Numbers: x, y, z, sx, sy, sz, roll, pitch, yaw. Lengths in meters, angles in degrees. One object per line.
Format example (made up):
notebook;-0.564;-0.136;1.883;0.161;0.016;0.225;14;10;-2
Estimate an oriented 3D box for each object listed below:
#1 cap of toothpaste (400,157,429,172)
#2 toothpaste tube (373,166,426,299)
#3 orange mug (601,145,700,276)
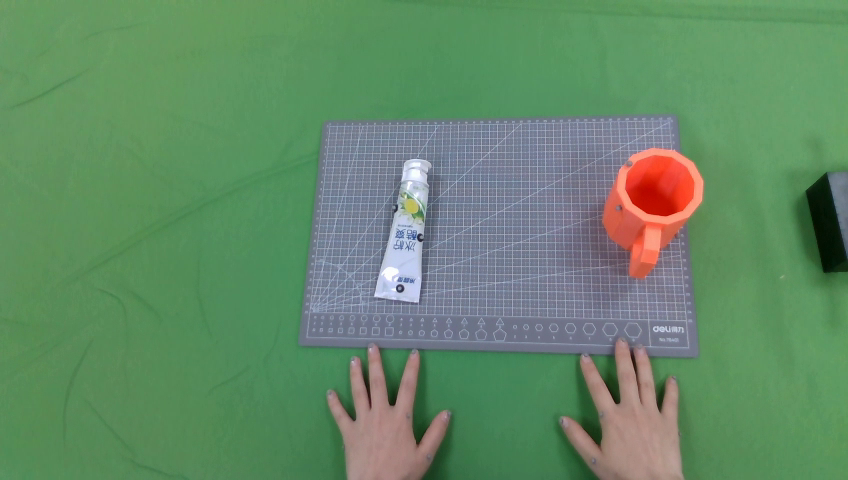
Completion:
cap of toothpaste;-0.012;-0.091;0.745;0.037;0.037;0.011;-3;70;6
toothpaste tube;-0.024;-0.013;0.728;0.055;0.035;0.164;4;76;14
orange mug;0.243;-0.028;0.664;0.083;0.101;0.125;8;68;10
